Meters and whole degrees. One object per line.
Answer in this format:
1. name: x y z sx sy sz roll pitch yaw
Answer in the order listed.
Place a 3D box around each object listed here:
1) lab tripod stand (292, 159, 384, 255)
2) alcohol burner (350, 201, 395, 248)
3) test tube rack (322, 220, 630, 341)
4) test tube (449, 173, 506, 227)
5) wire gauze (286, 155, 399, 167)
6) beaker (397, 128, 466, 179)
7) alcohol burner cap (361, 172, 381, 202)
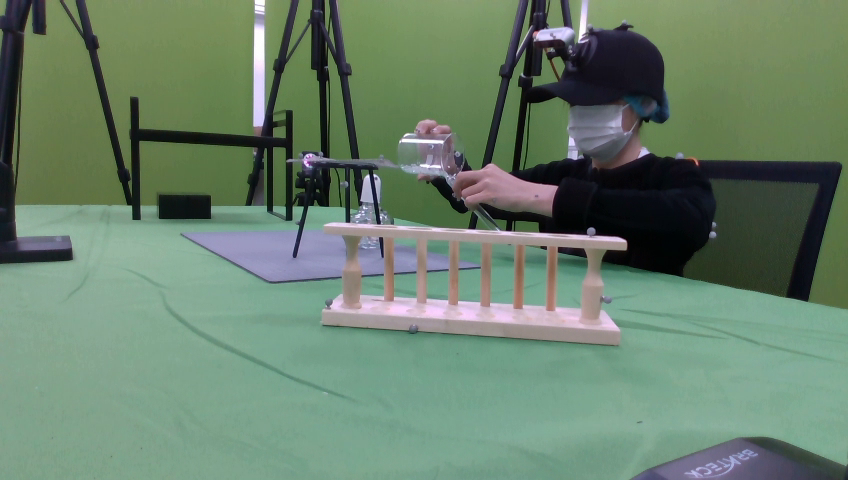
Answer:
1. lab tripod stand: -0.105 -0.039 0.797 0.148 0.131 0.148 2 5 0
2. alcohol burner: -0.084 -0.048 0.953 0.078 0.119 0.078 1 6 0
3. test tube rack: 0.041 0.029 0.512 0.242 0.085 0.067 3 7 5
4. test tube: 0.090 -0.055 0.973 0.017 0.017 0.149 -8 51 -51
5. wire gauze: -0.101 -0.105 0.788 0.121 0.011 0.125 4 6 6
6. beaker: 0.011 -0.148 1.023 0.100 0.084 0.074 9 8 35
7. alcohol burner cap: -0.081 -0.084 0.949 0.034 0.048 0.034 7 7 -1
